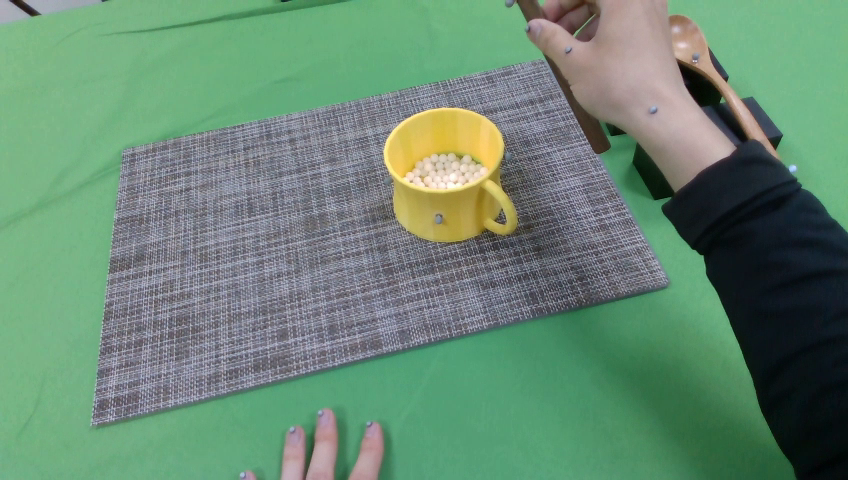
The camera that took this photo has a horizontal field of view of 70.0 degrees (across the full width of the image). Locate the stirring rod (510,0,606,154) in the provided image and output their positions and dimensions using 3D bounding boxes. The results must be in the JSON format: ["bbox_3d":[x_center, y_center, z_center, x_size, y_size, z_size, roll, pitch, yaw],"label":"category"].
[{"bbox_3d":[0.088,-0.141,0.440,0.014,0.177,0.006,-21,15,43],"label":"stirring rod"}]

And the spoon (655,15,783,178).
[{"bbox_3d":[0.252,-0.128,0.519,0.041,0.022,0.191,-13,55,-5],"label":"spoon"}]

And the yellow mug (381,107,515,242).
[{"bbox_3d":[0.027,-0.048,0.512,0.100,0.064,0.129,-39,60,-22],"label":"yellow mug"}]
